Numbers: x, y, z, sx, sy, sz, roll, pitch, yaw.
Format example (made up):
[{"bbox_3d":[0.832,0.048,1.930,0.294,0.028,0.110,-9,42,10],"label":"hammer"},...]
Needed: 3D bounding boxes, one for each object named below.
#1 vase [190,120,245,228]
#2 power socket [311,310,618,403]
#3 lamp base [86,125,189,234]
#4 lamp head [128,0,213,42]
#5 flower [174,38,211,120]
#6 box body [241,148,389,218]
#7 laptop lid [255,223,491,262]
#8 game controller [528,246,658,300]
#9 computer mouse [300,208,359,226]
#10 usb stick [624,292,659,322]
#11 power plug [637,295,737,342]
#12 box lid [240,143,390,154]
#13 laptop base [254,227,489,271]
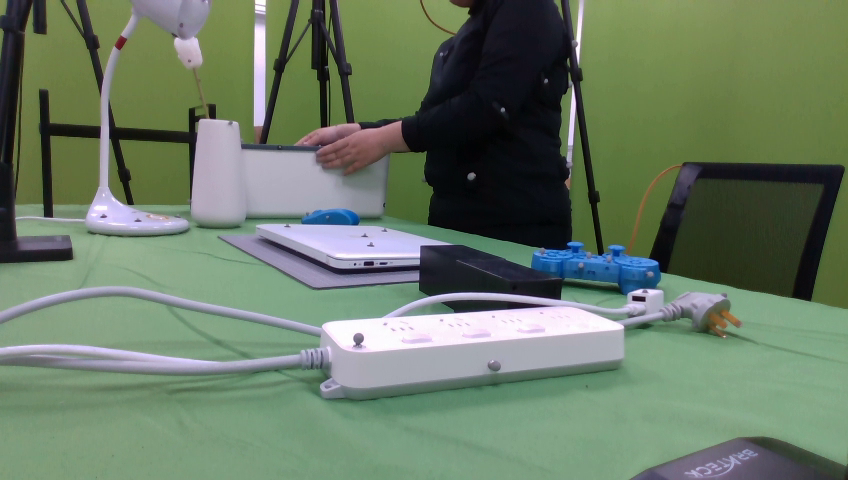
[{"bbox_3d":[-0.389,-0.124,1.142,0.098,0.200,0.098,3,9,0],"label":"vase"},{"bbox_3d":[0.034,0.074,0.415,0.228,0.032,0.072,-1,7,-24],"label":"power socket"},{"bbox_3d":[-0.497,-0.105,1.027,0.179,0.180,0.160,1,7,3],"label":"lamp base"},{"bbox_3d":[-0.423,-0.394,0.980,0.123,0.112,0.112,20,7,-3],"label":"lamp head"},{"bbox_3d":[-0.401,-0.207,1.141,0.038,0.361,0.044,-14,3,44],"label":"flower"},{"bbox_3d":[-0.297,-0.143,1.474,0.366,0.160,0.253,-1,9,-30],"label":"box body"},{"bbox_3d":[-0.093,0.000,0.911,0.243,0.013,0.355,1,7,-30],"label":"laptop lid"},{"bbox_3d":[0.202,0.037,0.732,0.155,0.051,0.097,5,10,20],"label":"game controller"},{"bbox_3d":[-0.194,-0.045,1.241,0.117,0.041,0.063,0,9,11],"label":"computer mouse"},{"bbox_3d":[0.211,0.064,0.580,0.021,0.027,0.059,-3,-4,36],"label":"usb stick"},{"bbox_3d":[0.235,0.078,0.536,0.072,0.035,0.052,-34,41,-4],"label":"power plug"},{"bbox_3d":[-0.295,-0.220,1.462,0.373,0.015,0.262,-2,9,-29],"label":"box lid"},{"bbox_3d":[-0.096,0.012,0.911,0.237,0.023,0.352,2,6,-32],"label":"laptop base"}]
